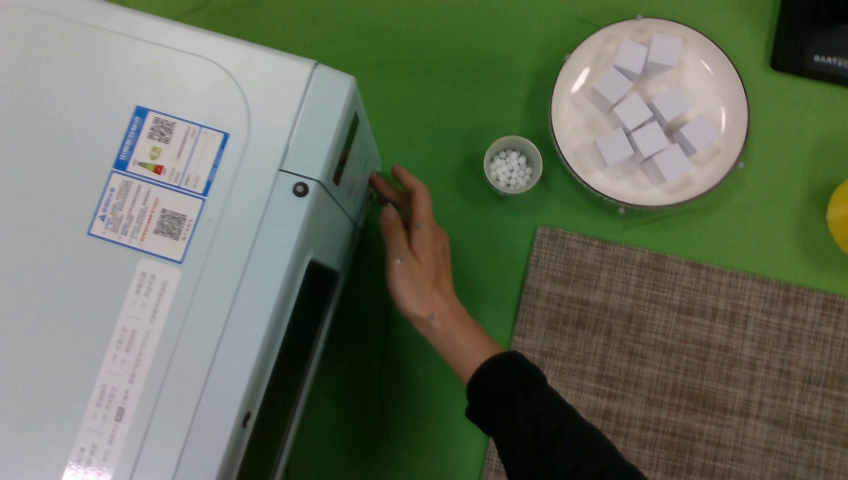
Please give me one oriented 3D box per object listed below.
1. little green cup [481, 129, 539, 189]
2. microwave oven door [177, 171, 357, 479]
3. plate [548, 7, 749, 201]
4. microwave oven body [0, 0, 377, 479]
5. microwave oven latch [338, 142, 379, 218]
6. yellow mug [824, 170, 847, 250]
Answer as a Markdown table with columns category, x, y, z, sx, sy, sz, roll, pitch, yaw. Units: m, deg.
| category | x | y | z | sx | sy | sz | roll | pitch | yaw |
| --- | --- | --- | --- | --- | --- | --- | --- | --- | --- |
| little green cup | 0.089 | -0.083 | 0.639 | 0.061 | 0.038 | 0.061 | 0 | 85 | 0 |
| microwave oven door | -0.136 | 0.134 | 0.500 | 0.039 | 0.244 | 0.355 | 16 | 84 | 2 |
| plate | 0.234 | -0.142 | 0.647 | 0.208 | 0.039 | 0.207 | 0 | 84 | 0 |
| microwave oven body | -0.263 | 0.052 | 0.514 | 0.326 | 0.260 | 0.441 | 17 | 85 | 2 |
| microwave oven latch | -0.069 | -0.065 | 0.621 | 0.030 | 0.029 | 0.079 | 20 | 85 | 2 |
| yellow mug | 0.483 | -0.020 | 0.620 | 0.100 | 0.064 | 0.130 | -15 | 85 | -2 |
